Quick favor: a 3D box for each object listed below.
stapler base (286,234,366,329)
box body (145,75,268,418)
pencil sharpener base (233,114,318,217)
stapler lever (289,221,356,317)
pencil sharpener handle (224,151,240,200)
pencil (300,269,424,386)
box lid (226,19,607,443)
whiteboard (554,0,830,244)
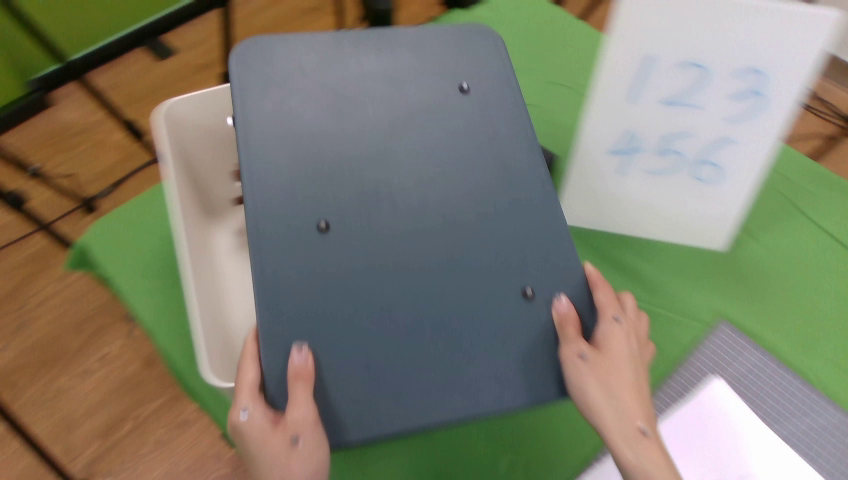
[{"bbox_3d":[-0.114,0.042,0.716,0.041,0.024,0.130,21,61,15],"label":"stapler base"},{"bbox_3d":[-0.127,-0.016,0.677,0.254,0.162,0.360,-19,60,-12],"label":"box body"},{"bbox_3d":[-0.183,-0.089,0.748,0.077,0.108,0.061,-26,60,-15],"label":"pencil sharpener base"},{"bbox_3d":[-0.115,0.029,0.693,0.026,0.040,0.117,21,62,15],"label":"stapler lever"},{"bbox_3d":[-0.228,-0.074,0.724,0.031,0.068,0.035,-26,60,-15],"label":"pencil sharpener handle"},{"bbox_3d":[-0.067,0.097,0.689,0.012,0.012,0.194,38,64,21],"label":"pencil"},{"bbox_3d":[-0.017,-0.040,0.509,0.264,0.015,0.368,-8,67,-12],"label":"box lid"},{"bbox_3d":[0.290,-0.173,0.736,0.217,0.308,0.143,10,39,7],"label":"whiteboard"}]
